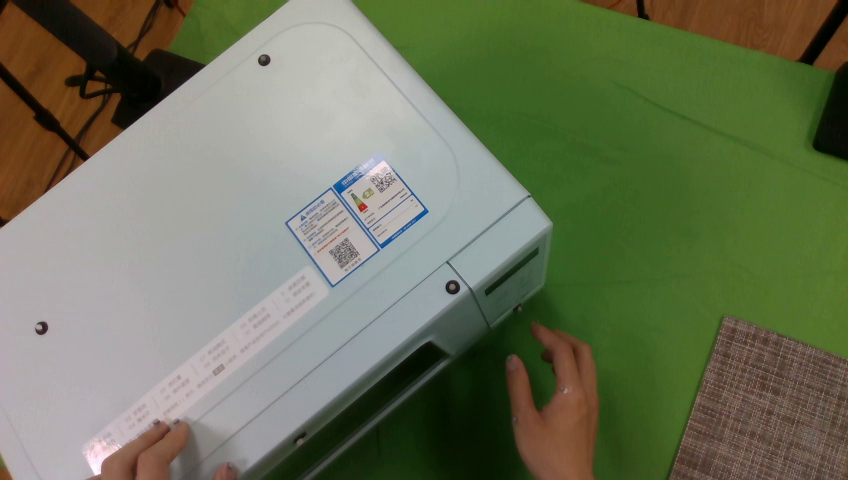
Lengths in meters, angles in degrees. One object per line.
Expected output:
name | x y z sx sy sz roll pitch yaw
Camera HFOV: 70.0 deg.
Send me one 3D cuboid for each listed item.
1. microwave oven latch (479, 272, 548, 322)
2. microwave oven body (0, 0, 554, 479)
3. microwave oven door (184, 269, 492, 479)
microwave oven latch | 0.095 0.053 0.647 0.079 0.030 0.030 -37 73 -1
microwave oven body | -0.149 0.032 0.592 0.441 0.262 0.324 -39 73 -1
microwave oven door | -0.093 0.164 0.543 0.356 0.245 0.039 -39 72 -2
